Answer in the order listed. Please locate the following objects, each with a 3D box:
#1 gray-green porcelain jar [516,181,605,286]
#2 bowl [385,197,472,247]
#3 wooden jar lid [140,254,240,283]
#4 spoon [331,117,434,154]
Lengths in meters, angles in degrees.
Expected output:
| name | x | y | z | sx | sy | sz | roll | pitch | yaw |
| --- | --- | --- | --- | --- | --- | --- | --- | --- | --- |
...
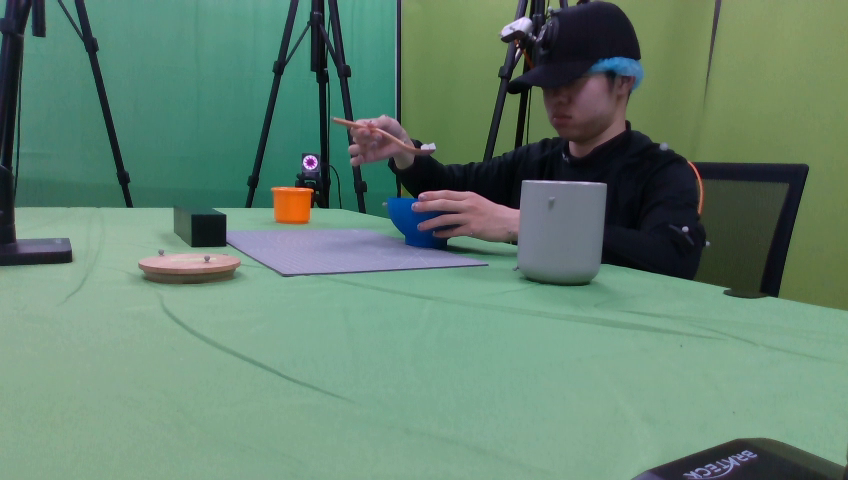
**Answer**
| name | x | y | z | sx | sy | sz | roll | pitch | yaw |
| --- | --- | --- | --- | --- | --- | --- | --- | --- | --- |
| gray-green porcelain jar | 0.172 | -0.010 | 0.768 | 0.106 | 0.126 | 0.106 | 2 | 7 | 0 |
| bowl | 0.004 | -0.030 | 1.046 | 0.151 | 0.077 | 0.151 | 5 | 6 | 0 |
| wooden jar lid | -0.269 | 0.032 | 0.698 | 0.108 | 0.020 | 0.108 | 2 | 5 | 0 |
| spoon | -0.073 | -0.183 | 1.048 | 0.193 | 0.021 | 0.042 | 23 | 12 | 11 |
